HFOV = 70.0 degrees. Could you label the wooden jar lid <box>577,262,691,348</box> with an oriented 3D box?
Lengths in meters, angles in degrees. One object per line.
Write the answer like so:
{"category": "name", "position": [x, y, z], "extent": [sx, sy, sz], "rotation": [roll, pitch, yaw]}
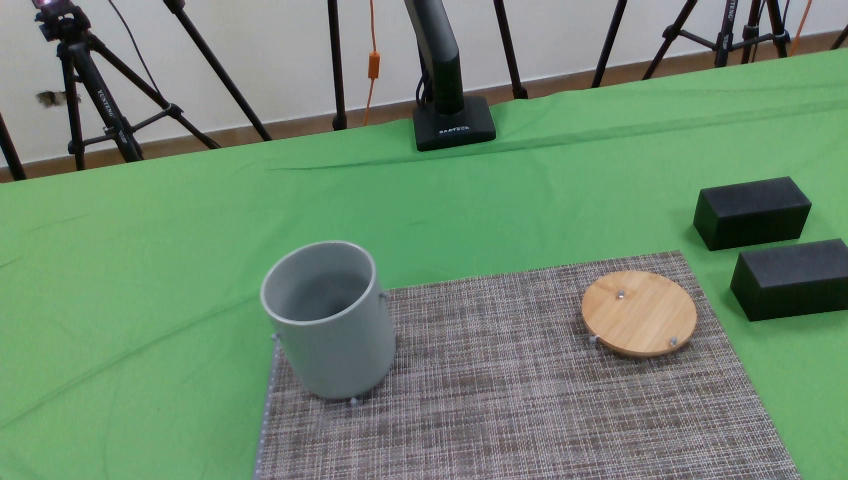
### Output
{"category": "wooden jar lid", "position": [0.210, 0.066, 0.610], "extent": [0.108, 0.021, 0.107], "rotation": [-5, 44, 6]}

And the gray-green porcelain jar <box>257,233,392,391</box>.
{"category": "gray-green porcelain jar", "position": [-0.088, 0.074, 0.580], "extent": [0.106, 0.128, 0.105], "rotation": [-5, 43, 5]}
